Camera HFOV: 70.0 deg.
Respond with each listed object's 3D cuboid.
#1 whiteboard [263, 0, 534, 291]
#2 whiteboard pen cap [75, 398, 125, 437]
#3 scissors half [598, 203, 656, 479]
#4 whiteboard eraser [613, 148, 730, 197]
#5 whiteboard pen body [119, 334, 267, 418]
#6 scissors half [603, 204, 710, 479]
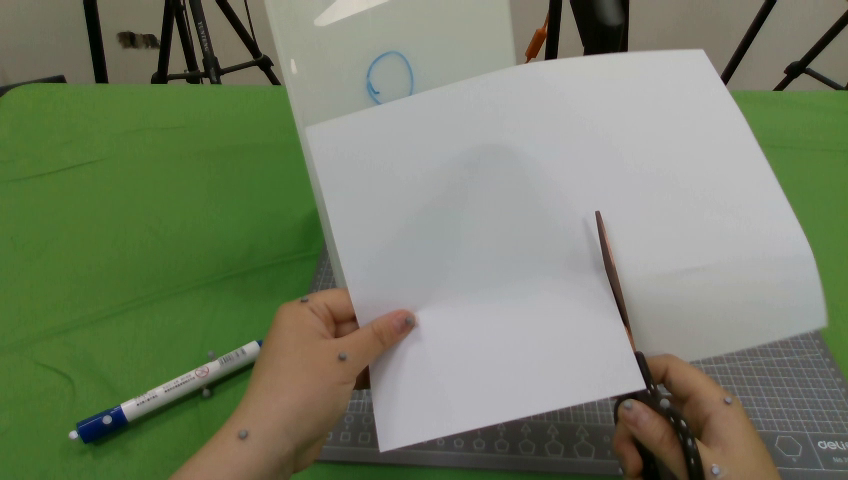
[{"bbox_3d":[-0.034,-0.141,0.599,0.218,0.307,0.142,-17,22,-17],"label":"whiteboard"},{"bbox_3d":[-0.238,0.130,0.448,0.033,0.018,0.018,-26,46,-27],"label":"whiteboard pen cap"},{"bbox_3d":[0.119,0.064,0.368,0.013,0.175,0.040,0,-3,-30],"label":"scissors half"},{"bbox_3d":[0.271,-0.074,0.669,0.113,0.042,0.055,0,42,0],"label":"whiteboard eraser"},{"bbox_3d":[-0.190,0.109,0.474,0.141,0.017,0.017,-25,45,-28],"label":"whiteboard pen body"},{"bbox_3d":[0.128,0.059,0.349,0.013,0.040,0.174,-2,67,-24],"label":"scissors half"}]
